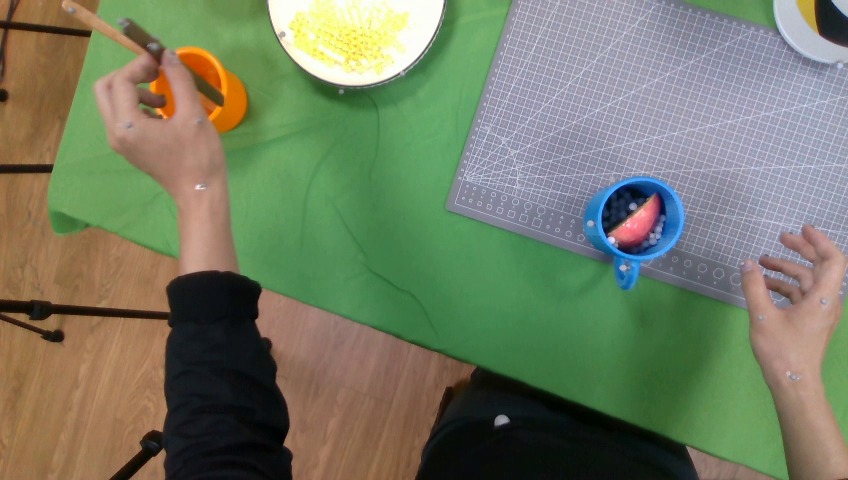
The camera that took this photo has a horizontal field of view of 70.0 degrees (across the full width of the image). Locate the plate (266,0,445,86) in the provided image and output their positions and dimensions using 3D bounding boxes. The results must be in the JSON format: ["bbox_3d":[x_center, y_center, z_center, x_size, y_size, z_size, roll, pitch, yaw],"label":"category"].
[{"bbox_3d":[-0.077,-0.281,0.698,0.209,0.038,0.209,0,93,7],"label":"plate"}]

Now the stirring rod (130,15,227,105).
[{"bbox_3d":[-0.215,-0.156,0.546,0.006,0.176,0.014,6,84,5],"label":"stirring rod"}]

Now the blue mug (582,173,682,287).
[{"bbox_3d":[0.214,-0.009,0.639,0.082,0.106,0.116,4,93,7],"label":"blue mug"}]

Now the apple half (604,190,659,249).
[{"bbox_3d":[0.221,-0.015,0.632,0.081,0.081,0.032,-41,79,7],"label":"apple half"}]

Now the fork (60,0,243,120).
[{"bbox_3d":[-0.294,-0.198,0.672,0.209,0.018,0.028,32,96,-39],"label":"fork"}]

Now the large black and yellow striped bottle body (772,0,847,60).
[{"bbox_3d":[0.429,-0.257,0.563,0.130,0.184,0.130,0,90,7],"label":"large black and yellow striped bottle body"}]
